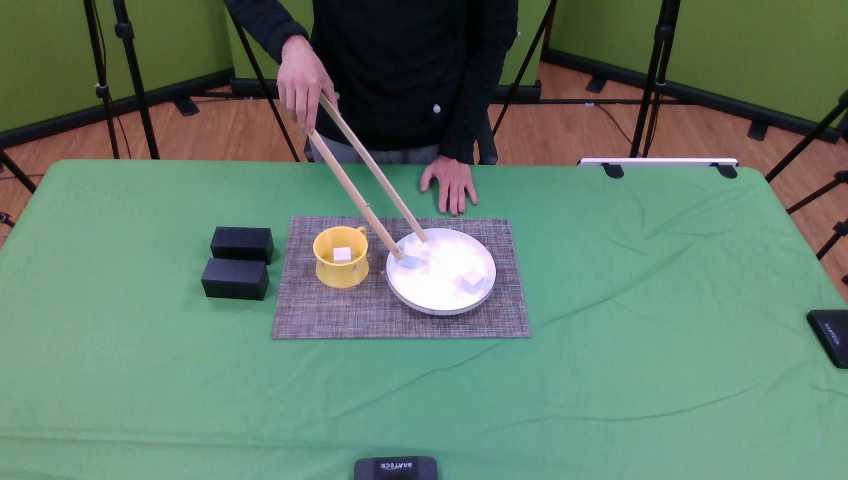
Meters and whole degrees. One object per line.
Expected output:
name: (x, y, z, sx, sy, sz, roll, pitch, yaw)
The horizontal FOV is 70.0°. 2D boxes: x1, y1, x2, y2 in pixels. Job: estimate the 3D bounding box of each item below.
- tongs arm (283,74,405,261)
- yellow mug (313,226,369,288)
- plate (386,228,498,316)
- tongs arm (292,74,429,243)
tongs arm: (-0.141, -0.131, 1.106, 0.050, 0.026, 0.385, -39, 94, -34)
yellow mug: (-0.146, 0.021, 1.131, 0.099, 0.064, 0.130, 24, 49, 19)
plate: (0.032, 0.062, 1.126, 0.208, 0.039, 0.206, 2, 46, -2)
tongs arm: (-0.114, -0.151, 1.130, 0.028, 0.028, 0.388, -40, 95, -30)
